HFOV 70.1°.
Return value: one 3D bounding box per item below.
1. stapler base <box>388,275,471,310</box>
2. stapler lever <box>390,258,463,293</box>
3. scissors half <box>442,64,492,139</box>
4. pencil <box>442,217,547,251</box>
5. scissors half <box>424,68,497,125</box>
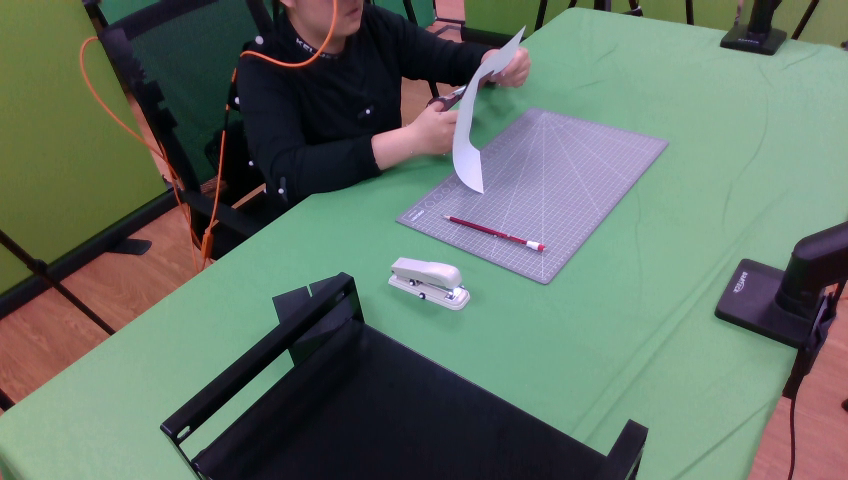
[{"bbox_3d":[0.007,0.066,0.897,0.129,0.024,0.041,17,43,29],"label":"stapler base"},{"bbox_3d":[0.003,0.046,0.881,0.117,0.040,0.027,17,44,29],"label":"stapler lever"},{"bbox_3d":[0.081,-0.249,1.102,0.040,0.175,0.013,24,43,-6],"label":"scissors half"},{"bbox_3d":[0.110,-0.012,0.980,0.192,0.012,0.012,18,46,30],"label":"pencil"},{"bbox_3d":[0.064,-0.263,1.097,0.174,0.040,0.013,-27,25,35],"label":"scissors half"}]
